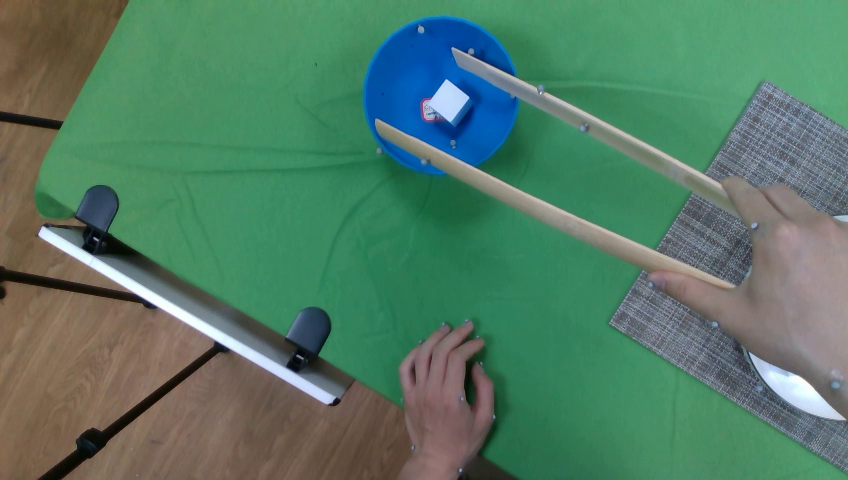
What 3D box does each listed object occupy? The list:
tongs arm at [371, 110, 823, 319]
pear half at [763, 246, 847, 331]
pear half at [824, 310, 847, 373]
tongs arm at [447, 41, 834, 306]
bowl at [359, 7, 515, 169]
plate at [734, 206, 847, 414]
[{"bbox_3d":[0.097,-0.034,0.475,0.384,0.028,0.028,30,66,31],"label":"tongs arm"},{"bbox_3d":[0.399,0.039,0.602,0.076,0.056,0.110,42,90,-3],"label":"pear half"},{"bbox_3d":[0.455,0.101,0.610,0.088,0.031,0.070,-27,94,9],"label":"pear half"},{"bbox_3d":[0.138,-0.075,0.489,0.050,0.027,0.381,-43,56,-14],"label":"tongs arm"},{"bbox_3d":[0.014,-0.144,0.611,0.151,0.077,0.151,0,92,2],"label":"bowl"},{"bbox_3d":[0.418,0.069,0.616,0.207,0.039,0.207,0,92,3],"label":"plate"}]
